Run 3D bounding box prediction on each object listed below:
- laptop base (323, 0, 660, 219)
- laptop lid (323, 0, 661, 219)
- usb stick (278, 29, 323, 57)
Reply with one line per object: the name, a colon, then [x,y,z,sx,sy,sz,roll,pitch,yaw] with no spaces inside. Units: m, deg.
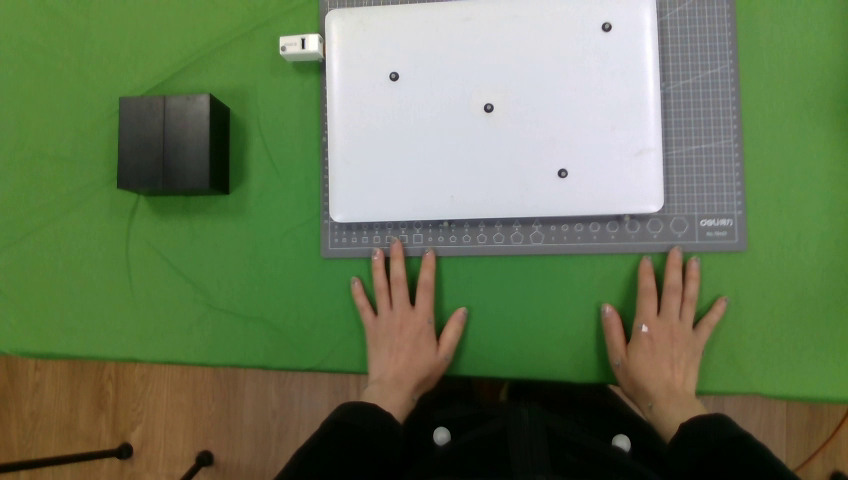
laptop base: [0.068,-0.145,0.652,0.354,0.023,0.235,-2,89,4]
laptop lid: [0.067,-0.143,0.641,0.356,0.013,0.241,0,89,5]
usb stick: [-0.128,-0.215,0.661,0.059,0.027,0.021,-1,87,5]
